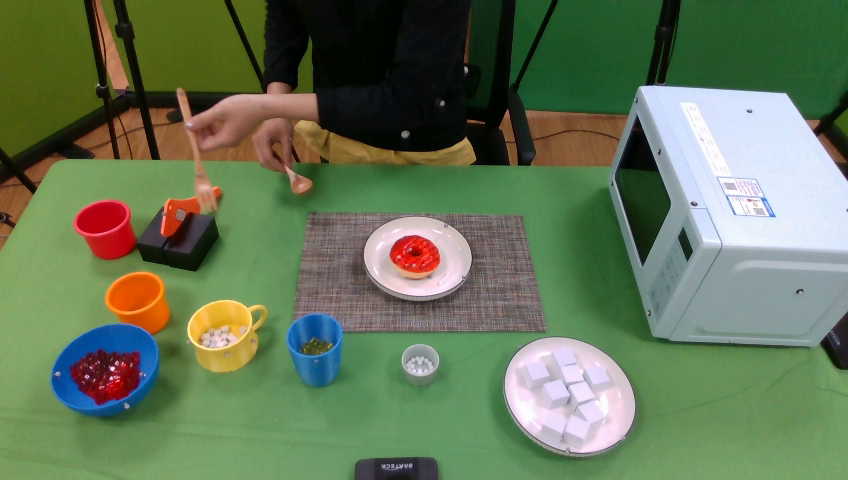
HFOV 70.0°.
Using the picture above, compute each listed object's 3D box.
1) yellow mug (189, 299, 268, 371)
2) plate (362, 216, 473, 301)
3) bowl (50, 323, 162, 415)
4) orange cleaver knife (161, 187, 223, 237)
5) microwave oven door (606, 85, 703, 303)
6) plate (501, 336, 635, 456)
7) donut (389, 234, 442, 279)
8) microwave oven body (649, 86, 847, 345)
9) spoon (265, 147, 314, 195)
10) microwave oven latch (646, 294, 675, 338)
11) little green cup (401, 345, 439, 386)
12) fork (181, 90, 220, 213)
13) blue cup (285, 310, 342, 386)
[{"bbox_3d":[-0.316,0.148,1.002,0.131,0.064,0.099,-32,56,-31],"label":"yellow mug"},{"bbox_3d":[-0.012,0.038,1.144,0.209,0.038,0.208,2,46,-2],"label":"plate"},{"bbox_3d":[-0.472,0.209,0.924,0.151,0.077,0.150,2,45,-2],"label":"bowl"},{"bbox_3d":[-0.448,-0.058,1.181,0.012,0.077,0.211,13,17,6],"label":"orange cleaver knife"},{"bbox_3d":[0.423,-0.094,1.140,0.039,0.245,0.353,3,46,-1],"label":"microwave oven door"},{"bbox_3d":[0.225,0.249,0.964,0.208,0.039,0.206,2,46,-2],"label":"plate"},{"bbox_3d":[-0.016,0.031,1.135,0.099,0.048,0.098,4,44,-3],"label":"donut"},{"bbox_3d":[0.568,-0.053,1.118,0.326,0.261,0.439,2,45,-1],"label":"microwave oven body"},{"bbox_3d":[-0.280,-0.146,1.239,0.041,0.022,0.192,-40,57,-8],"label":"spoon"},{"bbox_3d":[0.412,0.134,1.061,0.030,0.029,0.078,4,45,1],"label":"microwave oven latch"},{"bbox_3d":[-0.007,0.206,0.988,0.061,0.039,0.061,2,46,-2],"label":"little green cup"},{"bbox_3d":[-0.367,-0.144,0.987,0.028,0.018,0.207,-13,92,-31],"label":"fork"},{"bbox_3d":[-0.170,0.179,0.958,0.093,0.101,0.092,2,44,-1],"label":"blue cup"}]
